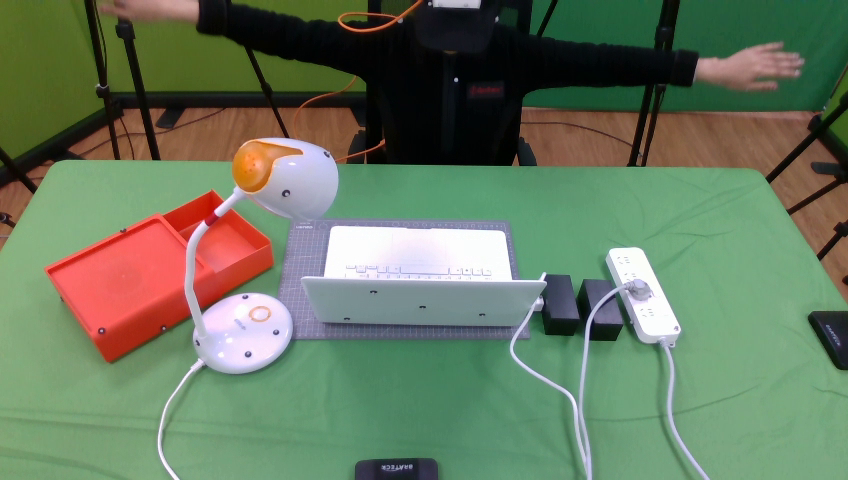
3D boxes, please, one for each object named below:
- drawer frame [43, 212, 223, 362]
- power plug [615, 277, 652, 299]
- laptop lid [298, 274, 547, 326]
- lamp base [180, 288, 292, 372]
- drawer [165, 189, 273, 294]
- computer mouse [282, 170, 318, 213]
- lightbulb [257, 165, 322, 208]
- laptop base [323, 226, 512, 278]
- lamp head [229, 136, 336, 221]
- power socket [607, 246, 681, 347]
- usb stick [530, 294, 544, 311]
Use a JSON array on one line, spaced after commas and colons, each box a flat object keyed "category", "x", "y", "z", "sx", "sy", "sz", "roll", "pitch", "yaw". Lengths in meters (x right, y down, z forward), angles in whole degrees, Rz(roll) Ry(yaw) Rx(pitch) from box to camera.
[{"category": "drawer frame", "x": -0.497, "y": 0.073, "z": 1.049, "sx": 0.213, "sy": 0.083, "sz": 0.200, "roll": -34, "pitch": 57, "yaw": -31}, {"category": "power plug", "x": 0.375, "y": 0.088, "z": 1.096, "sx": 0.072, "sy": 0.053, "sz": 0.035, "roll": 6, "pitch": 46, "yaw": 2}, {"category": "laptop lid", "x": -0.004, "y": 0.099, "z": 0.947, "sx": 0.357, "sy": 0.242, "sz": 0.013, "roll": 2, "pitch": 66, "yaw": -4}, {"category": "lamp base", "x": -0.309, "y": 0.107, "z": 0.959, "sx": 0.160, "sy": 0.181, "sz": 0.179, "roll": 29, "pitch": 55, "yaw": 22}, {"category": "drawer", "x": -0.419, "y": 0.022, "z": 1.109, "sx": 0.193, "sy": 0.073, "sz": 0.211, "roll": 37, "pitch": 55, "yaw": 27}, {"category": "computer mouse", "x": -0.259, "y": -0.106, "z": 1.272, "sx": 0.063, "sy": 0.041, "sz": 0.116, "roll": 4, "pitch": 50, "yaw": -3}, {"category": "lightbulb", "x": -0.181, "y": -0.075, "z": 0.809, "sx": 0.059, "sy": 0.059, "sz": 0.108, "roll": 34, "pitch": 12, "yaw": 26}, {"category": "laptop base", "x": -0.011, "y": 0.063, "z": 1.137, "sx": 0.354, "sy": 0.023, "sz": 0.234, "roll": 1, "pitch": 42, "yaw": -3}, {"category": "lamp head", "x": -0.195, "y": -0.085, "z": 0.791, "sx": 0.112, "sy": 0.112, "sz": 0.123, "roll": 36, "pitch": 15, "yaw": 27}, {"category": "power socket", "x": 0.403, "y": 0.096, "z": 1.123, "sx": 0.072, "sy": 0.033, "sz": 0.225, "roll": -3, "pitch": 47, "yaw": -5}, {"category": "usb stick", "x": 0.183, "y": 0.111, "z": 1.086, "sx": 0.059, "sy": 0.027, "sz": 0.021, "roll": 1, "pitch": 44, "yaw": -3}]
